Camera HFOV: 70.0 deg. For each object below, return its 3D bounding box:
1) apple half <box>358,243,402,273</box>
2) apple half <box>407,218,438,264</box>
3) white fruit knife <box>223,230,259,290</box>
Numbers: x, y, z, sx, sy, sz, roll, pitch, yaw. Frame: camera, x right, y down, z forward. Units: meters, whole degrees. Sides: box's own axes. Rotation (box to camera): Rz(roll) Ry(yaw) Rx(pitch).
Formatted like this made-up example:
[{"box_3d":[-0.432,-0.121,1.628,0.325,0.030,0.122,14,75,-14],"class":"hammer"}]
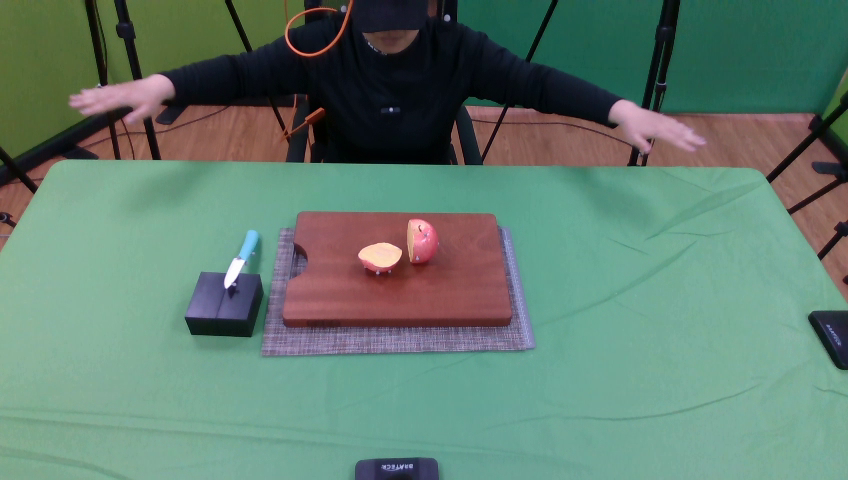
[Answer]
[{"box_3d":[-0.078,0.038,1.109,0.081,0.033,0.081,1,30,0],"class":"apple half"},{"box_3d":[-0.001,0.003,1.120,0.053,0.075,0.080,-1,42,-11],"class":"apple half"},{"box_3d":[-0.333,0.034,1.106,0.027,0.016,0.206,2,29,-2],"class":"white fruit knife"}]
